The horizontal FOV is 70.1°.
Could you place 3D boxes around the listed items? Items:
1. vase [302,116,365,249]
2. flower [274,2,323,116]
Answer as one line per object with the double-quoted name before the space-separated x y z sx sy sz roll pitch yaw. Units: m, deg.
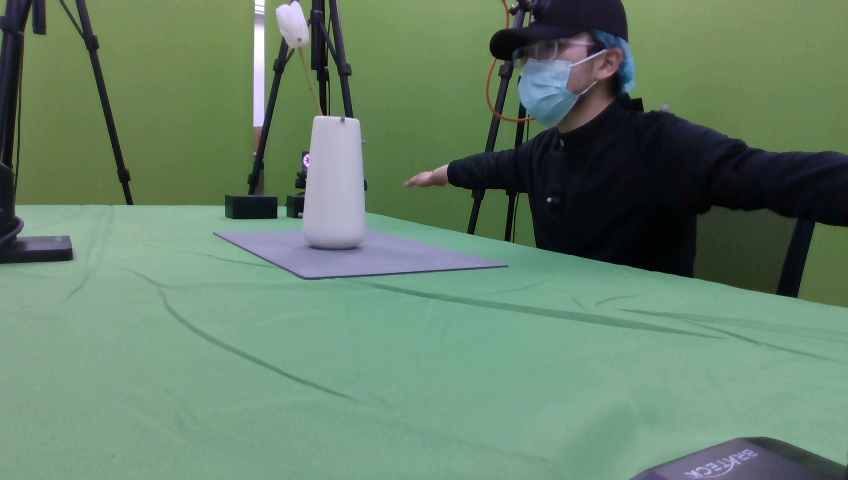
"vase" -0.139 -0.088 0.930 0.098 0.200 0.098 1 9 0
"flower" -0.151 -0.168 0.913 0.038 0.362 0.044 -6 19 28
